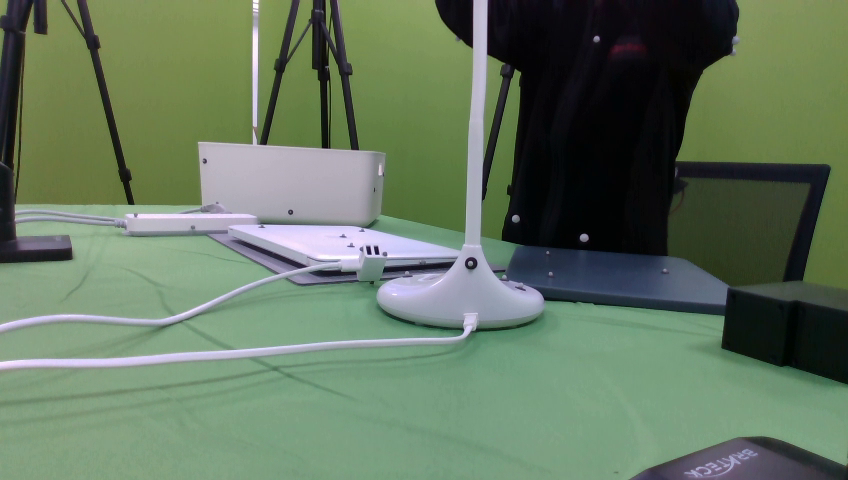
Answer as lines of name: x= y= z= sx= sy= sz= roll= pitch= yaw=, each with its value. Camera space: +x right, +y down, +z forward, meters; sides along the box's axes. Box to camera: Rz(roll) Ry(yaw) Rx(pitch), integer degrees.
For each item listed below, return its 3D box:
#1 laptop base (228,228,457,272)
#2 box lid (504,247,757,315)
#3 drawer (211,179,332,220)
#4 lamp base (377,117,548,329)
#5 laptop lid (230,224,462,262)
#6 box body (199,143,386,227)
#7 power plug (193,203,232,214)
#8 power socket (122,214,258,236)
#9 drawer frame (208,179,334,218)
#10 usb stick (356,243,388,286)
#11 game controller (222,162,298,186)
laptop base: x=-0.122 y=0.011 z=0.889 sx=0.237 sy=0.023 sz=0.352 roll=2 pitch=6 yaw=-35
box lid: x=0.244 y=0.044 z=0.793 sx=0.263 sy=0.015 sz=0.372 roll=4 pitch=7 yaw=11
drawer: x=-0.328 y=-0.095 z=1.332 sx=0.212 sy=0.073 sz=0.194 roll=5 pitch=8 yaw=6
lamp base: x=0.041 y=-0.019 z=0.551 sx=0.161 sy=0.180 sz=0.179 roll=1 pitch=10 yaw=-10
laptop lid: x=-0.120 y=0.000 z=0.889 sx=0.243 sy=0.013 sz=0.355 roll=1 pitch=7 yaw=-33
box body: x=-0.276 y=-0.124 z=1.334 sx=0.364 sy=0.160 sz=0.254 roll=3 pitch=7 yaw=1
power plug: x=-0.394 y=-0.042 z=1.139 sx=0.072 sy=0.052 sz=0.035 roll=-14 pitch=1 yaw=31
power socket: x=-0.398 y=-0.028 z=1.049 sx=0.228 sy=0.032 sz=0.072 roll=-3 pitch=8 yaw=-34
drawer frame: x=-0.327 y=-0.093 z=1.328 sx=0.213 sy=0.082 sz=0.202 roll=-1 pitch=5 yaw=6
usb stick: x=-0.058 y=0.029 z=0.658 sx=0.027 sy=0.059 sz=0.021 roll=-5 pitch=52 yaw=-18
game controller: x=-0.357 y=-0.143 z=1.321 sx=0.156 sy=0.051 sz=0.097 roll=1 pitch=2 yaw=-16
